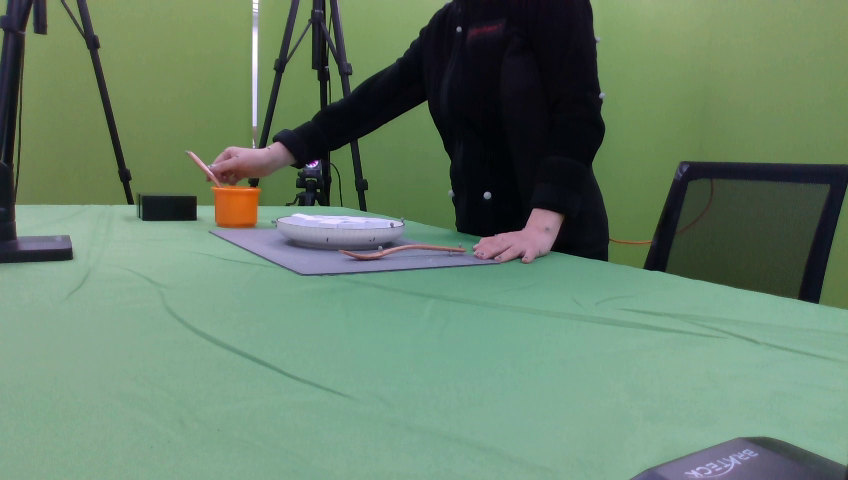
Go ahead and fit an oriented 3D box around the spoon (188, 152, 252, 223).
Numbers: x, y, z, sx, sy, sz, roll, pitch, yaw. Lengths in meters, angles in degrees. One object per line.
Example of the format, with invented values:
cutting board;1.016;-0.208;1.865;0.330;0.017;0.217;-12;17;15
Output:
spoon;-0.400;-0.103;1.179;0.021;0.193;0.042;-43;-11;29

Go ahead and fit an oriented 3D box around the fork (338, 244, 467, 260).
fork;-0.024;0.016;0.865;0.208;0.018;0.028;-4;5;-31

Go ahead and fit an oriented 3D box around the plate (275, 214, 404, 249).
plate;-0.136;-0.013;0.982;0.208;0.039;0.207;3;7;0
